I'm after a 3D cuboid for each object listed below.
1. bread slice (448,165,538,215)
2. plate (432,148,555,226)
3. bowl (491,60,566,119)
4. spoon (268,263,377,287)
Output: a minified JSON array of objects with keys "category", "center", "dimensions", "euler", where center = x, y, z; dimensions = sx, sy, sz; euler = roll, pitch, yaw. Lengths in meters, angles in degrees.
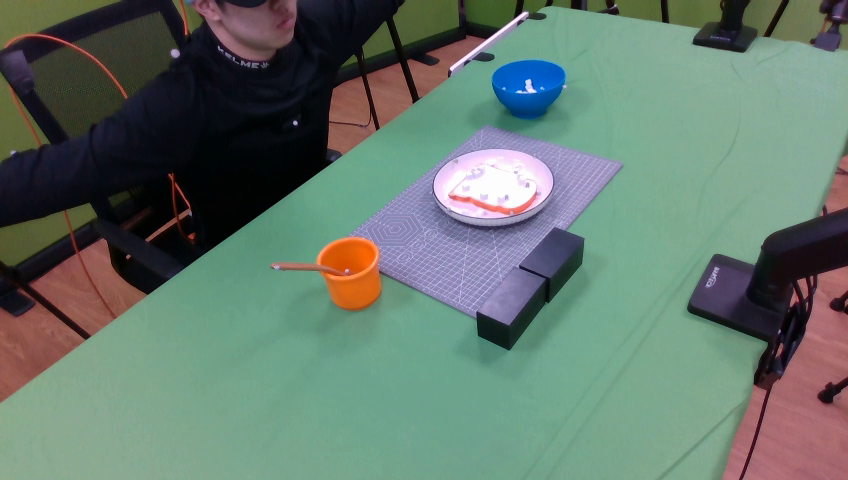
[{"category":"bread slice","center":[0.126,-0.085,1.037],"dimensions":[0.133,0.018,0.107],"euler":[17,45,27]},{"category":"plate","center":[0.120,-0.087,1.037],"dimensions":[0.209,0.038,0.208],"euler":[-4,40,4]},{"category":"bowl","center":[0.215,-0.302,1.248],"dimensions":[0.151,0.077,0.150],"euler":[-4,40,4]},{"category":"spoon","center":[-0.137,0.045,0.839],"dimensions":[0.041,0.195,0.021],"euler":[28,96,38]}]
